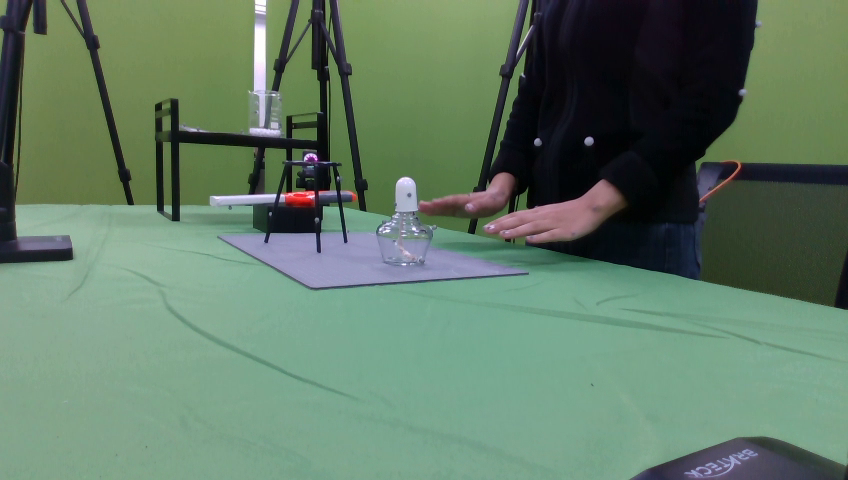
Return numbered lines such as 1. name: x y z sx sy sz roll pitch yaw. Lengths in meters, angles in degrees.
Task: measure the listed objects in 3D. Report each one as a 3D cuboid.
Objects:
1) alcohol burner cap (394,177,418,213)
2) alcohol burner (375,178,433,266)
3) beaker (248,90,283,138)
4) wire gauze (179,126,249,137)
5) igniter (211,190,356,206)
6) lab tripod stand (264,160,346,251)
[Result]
1. alcohol burner cap: -0.025 -0.060 0.809 0.034 0.048 0.034 -4 10 1
2. alcohol burner: -0.026 -0.025 0.815 0.078 0.119 0.078 5 7 0
3. beaker: -0.354 -0.278 1.340 0.074 0.100 0.084 6 9 26
4. wire gauze: -0.439 -0.227 1.266 0.122 0.011 0.124 0 9 -34
5. igniter: -0.260 -0.080 1.152 0.278 0.025 0.057 -5 13 -34
6. lab tripod stand: -0.177 -0.056 0.930 0.148 0.131 0.148 1 9 0
